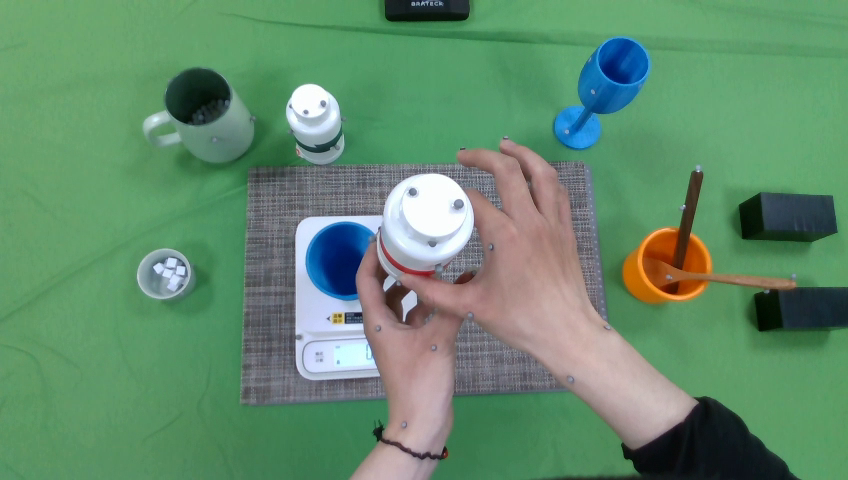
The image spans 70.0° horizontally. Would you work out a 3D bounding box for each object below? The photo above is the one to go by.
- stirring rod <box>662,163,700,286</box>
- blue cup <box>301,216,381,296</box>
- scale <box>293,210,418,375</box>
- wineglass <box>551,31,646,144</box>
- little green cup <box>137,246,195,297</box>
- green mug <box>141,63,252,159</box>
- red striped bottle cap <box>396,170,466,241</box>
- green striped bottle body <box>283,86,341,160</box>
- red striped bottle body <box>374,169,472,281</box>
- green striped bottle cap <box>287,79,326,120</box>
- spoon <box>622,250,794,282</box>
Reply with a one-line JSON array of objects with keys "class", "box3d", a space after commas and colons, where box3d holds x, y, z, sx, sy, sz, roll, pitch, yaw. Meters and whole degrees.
[{"class": "stirring rod", "box3d": [0.311, -0.013, 0.737, 0.014, 0.177, 0.006, 3, 35, 10]}, {"class": "blue cup", "box3d": [-0.089, 0.026, 0.688, 0.093, 0.100, 0.092, 1, 78, -4]}, {"class": "scale", "box3d": [-0.085, 0.062, 0.747, 0.149, 0.031, 0.200, -3, 77, -4]}, {"class": "wineglass", "box3d": [0.213, -0.185, 0.758, 0.074, 0.173, 0.073, 1, 76, -3]}, {"class": "little green cup", "box3d": [-0.310, 0.040, 0.735, 0.061, 0.039, 0.061, 1, 76, -5]}, {"class": "green mug", "box3d": [-0.283, -0.151, 0.749, 0.125, 0.105, 0.092, -23, 79, -9]}, {"class": "red striped bottle cap", "box3d": [0.005, -0.023, 0.392, 0.045, 0.018, 0.044, 3, 74, -9]}, {"class": "green striped bottle body", "box3d": [-0.138, -0.149, 0.752, 0.063, 0.119, 0.063, 1, 76, -3]}, {"class": "red striped bottle body", "box3d": [-0.003, -0.011, 0.443, 0.063, 0.120, 0.062, 2, 76, -8]}, {"class": "green striped bottle cap", "box3d": [-0.136, -0.163, 0.701, 0.044, 0.020, 0.044, 1, 76, -4]}, {"class": "spoon", "box3d": [0.332, 0.037, 0.727, 0.022, 0.192, 0.041, 19, 80, -44]}]
